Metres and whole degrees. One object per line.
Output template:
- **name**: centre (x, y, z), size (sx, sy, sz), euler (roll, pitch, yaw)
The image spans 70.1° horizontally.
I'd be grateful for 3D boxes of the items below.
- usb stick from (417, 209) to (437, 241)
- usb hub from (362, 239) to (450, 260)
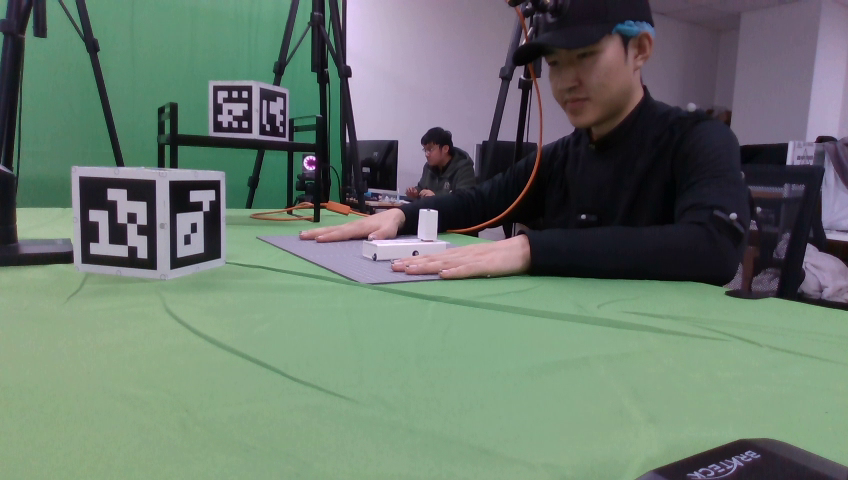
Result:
- **usb stick**: centre (0.005, -0.016, 0.904), size (0.021, 0.059, 0.027), euler (-3, 7, -31)
- **usb hub**: centre (-0.026, 0.013, 0.894), size (0.126, 0.025, 0.049), euler (-2, 6, -31)
